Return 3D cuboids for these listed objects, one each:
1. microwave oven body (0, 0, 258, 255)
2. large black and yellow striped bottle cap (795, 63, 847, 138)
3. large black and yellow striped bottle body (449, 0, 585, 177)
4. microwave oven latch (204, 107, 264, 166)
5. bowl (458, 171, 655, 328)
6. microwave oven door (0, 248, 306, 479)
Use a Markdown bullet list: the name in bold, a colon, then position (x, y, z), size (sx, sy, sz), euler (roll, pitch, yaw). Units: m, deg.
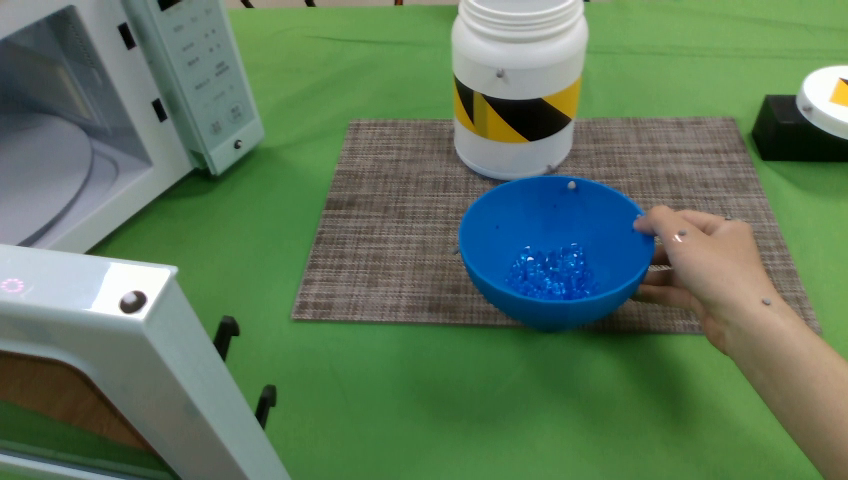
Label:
- **microwave oven body**: position (-0.439, -0.122, 0.564), size (0.324, 0.263, 0.440), euler (24, 54, 23)
- **large black and yellow striped bottle cap**: position (0.441, -0.142, 0.613), size (0.115, 0.019, 0.114), euler (-3, 47, 4)
- **large black and yellow striped bottle body**: position (0.092, -0.172, 0.617), size (0.131, 0.186, 0.129), euler (-2, 47, 3)
- **microwave oven latch**: position (-0.213, -0.118, 0.674), size (0.030, 0.030, 0.079), euler (25, 55, 24)
- **bowl**: position (0.104, 0.019, 0.497), size (0.151, 0.077, 0.150), euler (-3, 43, 3)
- **microwave oven door**: position (-0.267, 0.080, 0.357), size (0.355, 0.246, 0.039), euler (6, 48, 10)
